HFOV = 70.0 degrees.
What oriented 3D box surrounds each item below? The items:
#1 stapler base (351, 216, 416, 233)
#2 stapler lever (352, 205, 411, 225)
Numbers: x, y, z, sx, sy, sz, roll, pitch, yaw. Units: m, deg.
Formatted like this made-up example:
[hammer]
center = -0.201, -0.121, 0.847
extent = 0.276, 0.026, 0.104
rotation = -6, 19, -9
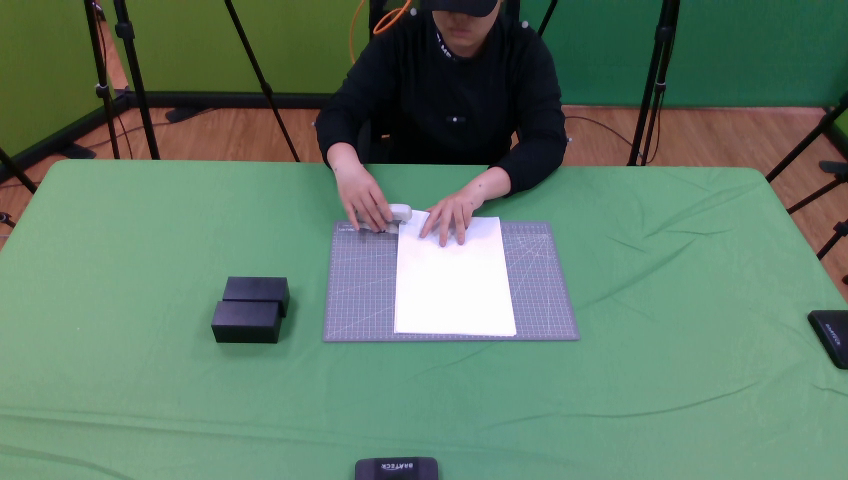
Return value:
[stapler base]
center = -0.082, -0.042, 1.221
extent = 0.130, 0.024, 0.041
rotation = 5, 52, 9
[stapler lever]
center = -0.084, -0.054, 1.205
extent = 0.118, 0.040, 0.026
rotation = 8, 52, 6
